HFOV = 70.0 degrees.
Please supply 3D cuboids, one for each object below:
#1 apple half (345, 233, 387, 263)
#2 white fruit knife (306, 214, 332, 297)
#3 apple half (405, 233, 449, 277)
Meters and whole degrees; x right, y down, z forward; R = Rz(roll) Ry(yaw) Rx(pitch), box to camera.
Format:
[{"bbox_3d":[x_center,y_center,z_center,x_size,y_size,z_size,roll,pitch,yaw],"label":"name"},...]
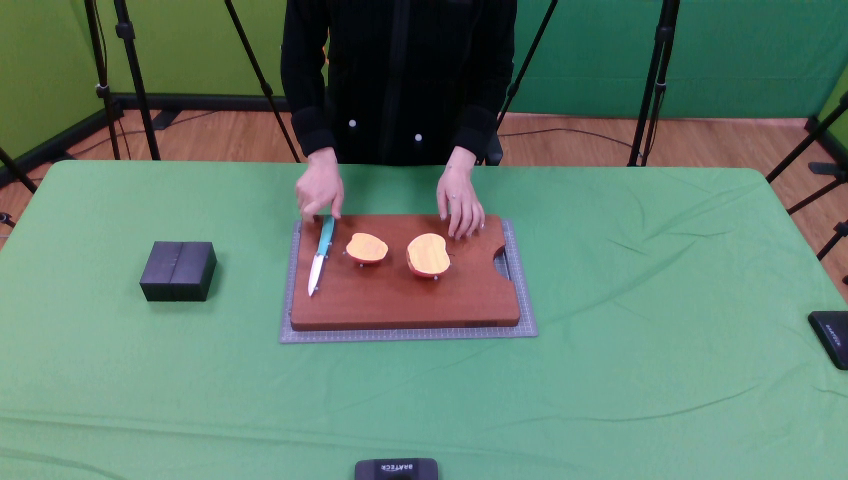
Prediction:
[{"bbox_3d":[-0.109,0.024,1.120,0.081,0.033,0.081,13,36,-10],"label":"apple half"},{"bbox_3d":[-0.195,0.025,1.125,0.027,0.016,0.206,-16,43,21],"label":"white fruit knife"},{"bbox_3d":[0.003,0.033,1.103,0.075,0.053,0.080,-12,72,-18],"label":"apple half"}]
